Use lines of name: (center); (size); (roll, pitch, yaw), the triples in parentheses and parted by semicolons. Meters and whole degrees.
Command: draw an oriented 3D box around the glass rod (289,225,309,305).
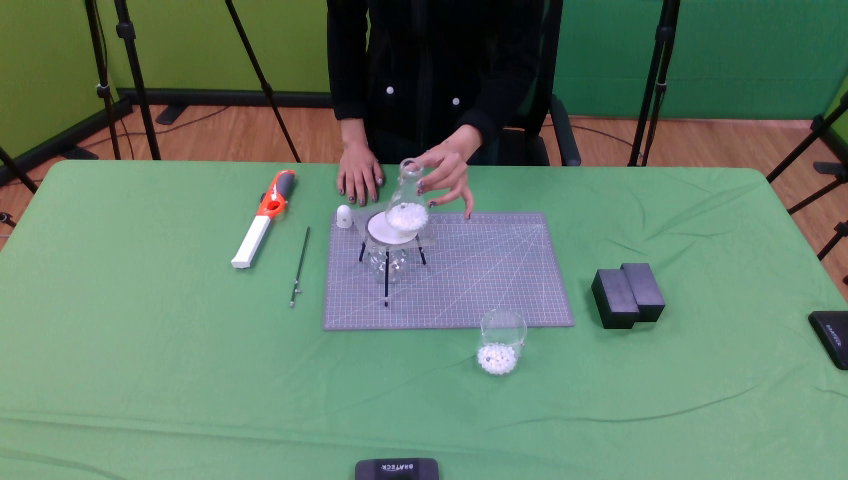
glass rod: (-0.235, 0.043, 1.149); (0.008, 0.008, 0.198); (3, 46, -1)

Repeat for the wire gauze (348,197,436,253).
wire gauze: (-0.056, -0.026, 1.045); (0.125, 0.011, 0.120); (-11, 47, -17)

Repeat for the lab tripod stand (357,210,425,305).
lab tripod stand: (-0.060, 0.020, 1.094); (0.148, 0.132, 0.147); (3, 44, -2)

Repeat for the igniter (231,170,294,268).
igniter: (-0.321, -0.051, 1.220); (0.057, 0.025, 0.275); (2, 45, 12)

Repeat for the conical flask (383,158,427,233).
conical flask: (-0.027, -0.075, 0.981); (0.075, 0.122, 0.075); (4, 48, -4)

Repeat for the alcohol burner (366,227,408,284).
alcohol burner: (-0.068, 0.024, 1.104); (0.078, 0.120, 0.077); (1, 46, -1)

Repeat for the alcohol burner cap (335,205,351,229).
alcohol burner cap: (-0.164, -0.049, 1.216); (0.034, 0.048, 0.033); (2, 46, -1)

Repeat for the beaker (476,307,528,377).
beaker: (0.122, 0.171, 0.991); (0.084, 0.101, 0.073); (-34, 56, -30)
